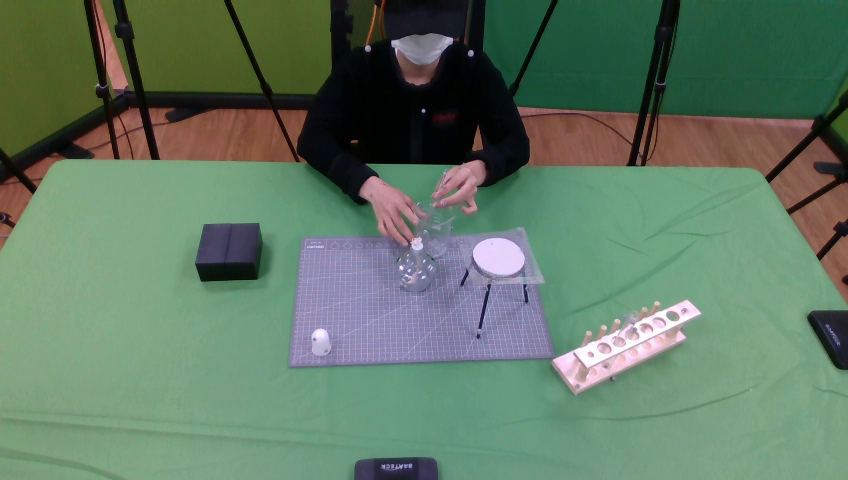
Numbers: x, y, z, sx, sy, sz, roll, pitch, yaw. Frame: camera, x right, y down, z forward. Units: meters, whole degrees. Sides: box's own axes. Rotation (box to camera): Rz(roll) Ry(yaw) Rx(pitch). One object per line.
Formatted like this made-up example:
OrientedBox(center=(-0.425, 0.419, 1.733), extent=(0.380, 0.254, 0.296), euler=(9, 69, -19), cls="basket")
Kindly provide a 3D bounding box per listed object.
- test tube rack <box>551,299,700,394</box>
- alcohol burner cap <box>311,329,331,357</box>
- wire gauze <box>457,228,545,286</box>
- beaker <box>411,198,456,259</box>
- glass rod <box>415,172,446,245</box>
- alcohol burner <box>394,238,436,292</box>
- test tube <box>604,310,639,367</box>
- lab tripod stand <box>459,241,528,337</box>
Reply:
OrientedBox(center=(0.339, 0.166, 1.021), extent=(0.242, 0.085, 0.066), euler=(-19, 50, -21), cls="test tube rack")
OrientedBox(center=(-0.173, 0.168, 1.004), extent=(0.034, 0.048, 0.033), euler=(2, 46, -2), cls="alcohol burner cap")
OrientedBox(center=(0.126, 0.029, 1.006), extent=(0.125, 0.011, 0.120), euler=(-4, 46, -10), cls="wire gauze")
OrientedBox(center=(0.016, -0.019, 1.161), extent=(0.084, 0.101, 0.073), euler=(6, 46, 1), cls="beaker")
OrientedBox(center=(0.011, -0.054, 1.125), extent=(0.008, 0.200, 0.008), euler=(10, 48, -11), cls="glass rod")
OrientedBox(center=(-0.016, 0.038, 1.093), extent=(0.078, 0.119, 0.077), euler=(2, 48, -2), cls="alcohol burner")
OrientedBox(center=(0.310, 0.158, 0.957), extent=(0.017, 0.151, 0.017), euler=(1, 49, -1), cls="test tube")
OrientedBox(center=(0.122, 0.075, 1.054), extent=(0.148, 0.132, 0.147), euler=(3, 44, -3), cls="lab tripod stand")
